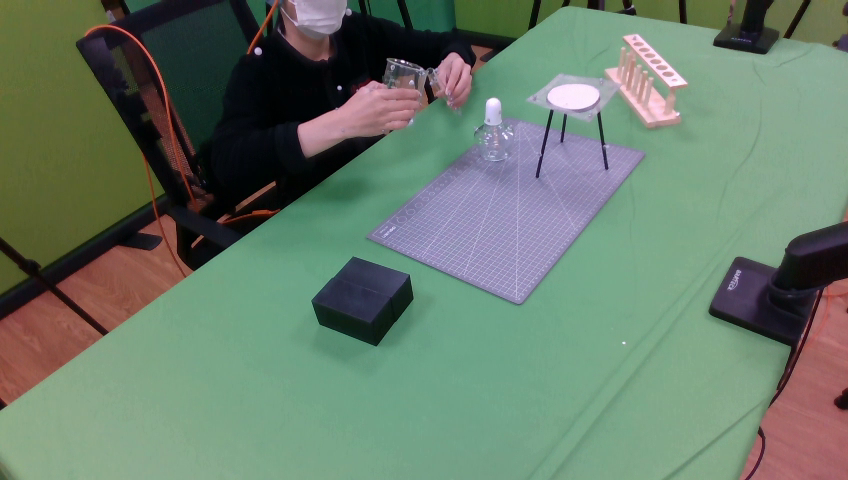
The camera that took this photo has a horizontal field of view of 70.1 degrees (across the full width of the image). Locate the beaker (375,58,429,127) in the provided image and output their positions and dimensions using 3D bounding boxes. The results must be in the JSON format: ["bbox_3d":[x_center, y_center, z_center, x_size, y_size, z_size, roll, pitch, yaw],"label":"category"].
[{"bbox_3d":[-0.037,-0.252,1.039,0.084,0.100,0.073,-3,29,-42],"label":"beaker"}]

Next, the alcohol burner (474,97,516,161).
[{"bbox_3d":[0.131,-0.208,1.121,0.078,0.119,0.077,-6,40,5],"label":"alcohol burner"}]

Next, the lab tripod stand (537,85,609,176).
[{"bbox_3d":[0.259,-0.192,1.068,0.148,0.132,0.147,-4,43,4],"label":"lab tripod stand"}]

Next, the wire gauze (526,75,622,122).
[{"bbox_3d":[0.255,-0.248,1.030,0.124,0.011,0.122,24,51,32],"label":"wire gauze"}]

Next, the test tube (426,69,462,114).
[{"bbox_3d":[0.040,-0.275,1.130,0.017,0.151,0.017,-7,71,23],"label":"test tube"}]

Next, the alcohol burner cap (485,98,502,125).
[{"bbox_3d":[0.126,-0.234,1.097,0.034,0.048,0.033,-3,39,3],"label":"alcohol burner cap"}]

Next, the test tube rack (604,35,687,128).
[{"bbox_3d":[0.447,-0.330,1.241,0.067,0.085,0.241,-9,41,-2],"label":"test tube rack"}]
